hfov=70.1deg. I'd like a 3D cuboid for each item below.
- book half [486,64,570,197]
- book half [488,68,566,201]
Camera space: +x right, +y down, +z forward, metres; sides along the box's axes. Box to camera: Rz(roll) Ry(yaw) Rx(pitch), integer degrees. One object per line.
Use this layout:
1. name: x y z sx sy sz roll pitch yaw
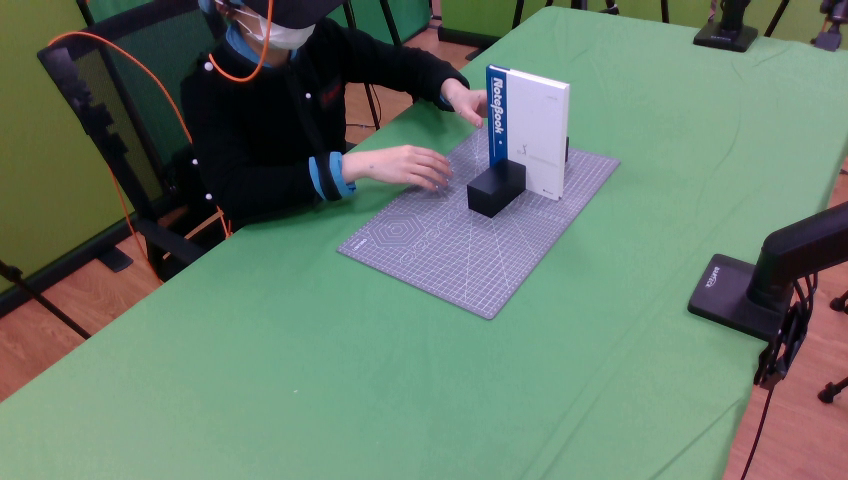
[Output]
1. book half: 0.170 -0.176 1.000 0.147 0.211 0.016 26 51 33
2. book half: 0.167 -0.171 0.995 0.142 0.211 0.007 27 52 34
